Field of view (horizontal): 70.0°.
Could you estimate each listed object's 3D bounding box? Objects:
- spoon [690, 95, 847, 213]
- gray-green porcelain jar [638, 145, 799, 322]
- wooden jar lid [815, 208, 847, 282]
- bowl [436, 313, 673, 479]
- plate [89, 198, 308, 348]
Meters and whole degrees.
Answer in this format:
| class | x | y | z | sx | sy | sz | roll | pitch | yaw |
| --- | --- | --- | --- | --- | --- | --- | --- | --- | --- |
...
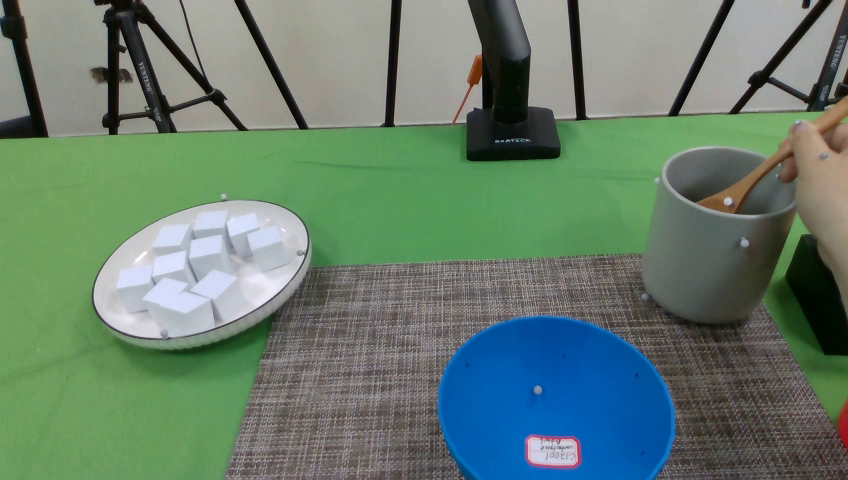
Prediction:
| class | x | y | z | sx | sy | sz | roll | pitch | yaw |
| --- | --- | --- | --- | --- | --- | --- | --- | --- | --- |
| spoon | 0.268 | -0.059 | 0.467 | 0.022 | 0.194 | 0.041 | 24 | 34 | -32 |
| gray-green porcelain jar | 0.245 | -0.001 | 0.523 | 0.106 | 0.127 | 0.105 | -3 | 39 | 3 |
| wooden jar lid | 0.385 | 0.012 | 0.505 | 0.108 | 0.021 | 0.107 | -3 | 39 | 3 |
| bowl | 0.084 | 0.131 | 0.415 | 0.151 | 0.077 | 0.150 | -3 | 39 | 2 |
| plate | -0.216 | 0.031 | 0.603 | 0.209 | 0.038 | 0.207 | -3 | 39 | 3 |
